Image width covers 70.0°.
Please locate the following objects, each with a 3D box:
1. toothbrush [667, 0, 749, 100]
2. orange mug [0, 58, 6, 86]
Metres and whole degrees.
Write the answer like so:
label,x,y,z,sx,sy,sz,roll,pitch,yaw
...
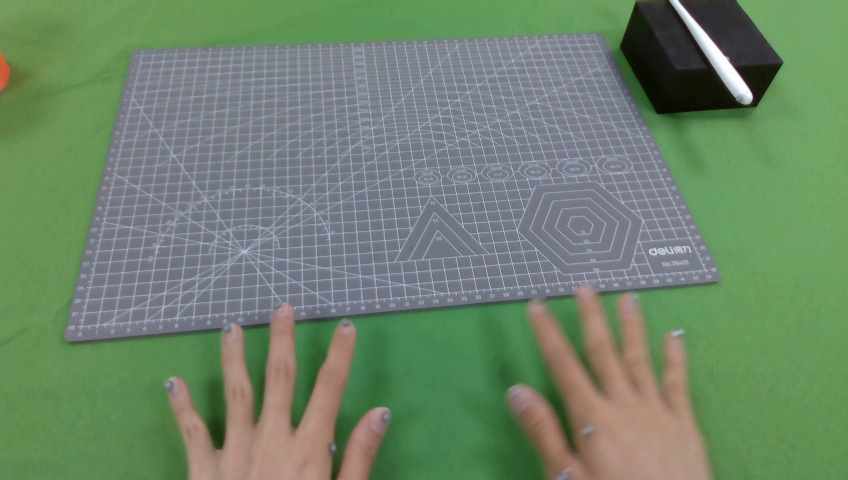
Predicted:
label,x,y,z,sx,sy,sz,roll,pitch,yaw
toothbrush,0.237,-0.186,0.528,0.014,0.017,0.180,-6,55,-10
orange mug,-0.417,-0.156,0.473,0.083,0.101,0.126,40,57,23
